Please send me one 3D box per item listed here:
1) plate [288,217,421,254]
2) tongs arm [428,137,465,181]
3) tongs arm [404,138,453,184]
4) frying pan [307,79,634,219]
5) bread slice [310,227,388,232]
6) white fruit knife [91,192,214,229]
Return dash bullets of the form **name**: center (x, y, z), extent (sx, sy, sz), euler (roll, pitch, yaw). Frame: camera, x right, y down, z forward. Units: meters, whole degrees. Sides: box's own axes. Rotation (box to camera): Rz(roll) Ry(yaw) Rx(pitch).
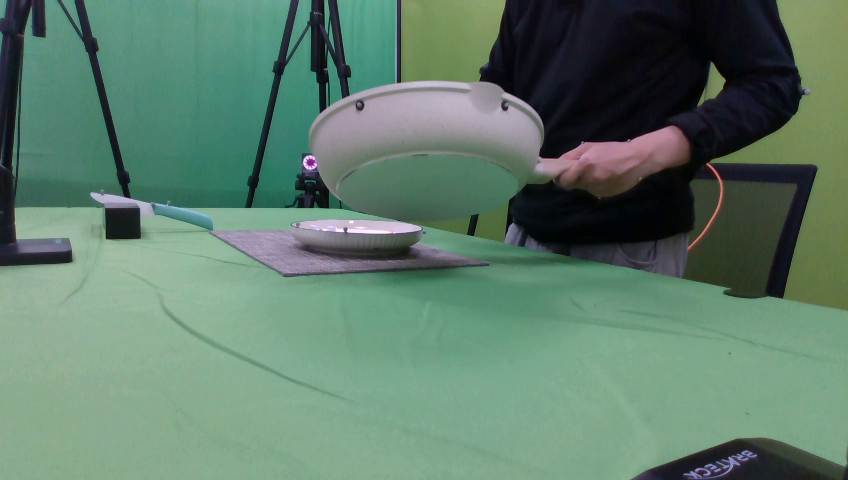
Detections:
- **plate**: center (-0.109, -0.007, 0.956), extent (0.208, 0.039, 0.207), euler (2, 8, 0)
- **tongs arm**: center (0.036, -0.128, 0.908), extent (0.028, 0.028, 0.388), euler (-10, 12, 11)
- **tongs arm**: center (0.014, -0.126, 0.912), extent (0.051, 0.026, 0.384), euler (-8, 13, 6)
- **frying pan**: center (0.096, -0.100, 0.798), extent (0.490, 0.102, 0.306), euler (-3, -13, -27)
- **bread slice**: center (-0.115, -0.005, 0.950), extent (0.134, 0.018, 0.107), euler (3, 6, -7)
- **white fruit knife**: center (-0.478, -0.055, 1.078), extent (0.208, 0.027, 0.016), euler (14, 0, -30)
